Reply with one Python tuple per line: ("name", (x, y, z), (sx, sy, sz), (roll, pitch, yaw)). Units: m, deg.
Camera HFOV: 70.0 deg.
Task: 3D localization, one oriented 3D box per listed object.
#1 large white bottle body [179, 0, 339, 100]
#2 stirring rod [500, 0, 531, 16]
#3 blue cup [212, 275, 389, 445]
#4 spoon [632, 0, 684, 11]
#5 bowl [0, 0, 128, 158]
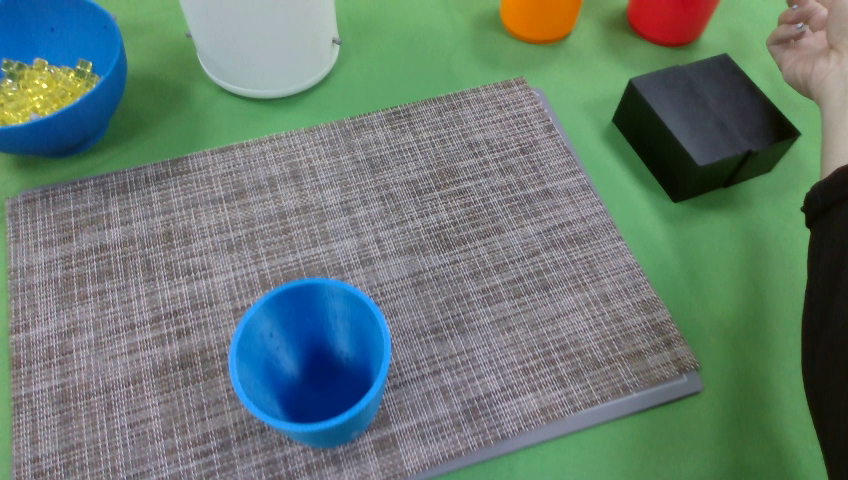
("large white bottle body", (-0.141, -0.224, 0.496), (0.131, 0.186, 0.129), (2, 59, -2))
("stirring rod", (0.144, -0.253, 0.557), (0.175, 0.006, 0.014), (-20, 50, 36))
("blue cup", (-0.062, 0.081, 0.363), (0.093, 0.101, 0.092), (1, 60, -1))
("spoon", (0.283, -0.246, 0.556), (0.192, 0.022, 0.041), (-3, 43, 51))
("bowl", (-0.307, -0.120, 0.488), (0.151, 0.077, 0.150), (1, 59, -2))
